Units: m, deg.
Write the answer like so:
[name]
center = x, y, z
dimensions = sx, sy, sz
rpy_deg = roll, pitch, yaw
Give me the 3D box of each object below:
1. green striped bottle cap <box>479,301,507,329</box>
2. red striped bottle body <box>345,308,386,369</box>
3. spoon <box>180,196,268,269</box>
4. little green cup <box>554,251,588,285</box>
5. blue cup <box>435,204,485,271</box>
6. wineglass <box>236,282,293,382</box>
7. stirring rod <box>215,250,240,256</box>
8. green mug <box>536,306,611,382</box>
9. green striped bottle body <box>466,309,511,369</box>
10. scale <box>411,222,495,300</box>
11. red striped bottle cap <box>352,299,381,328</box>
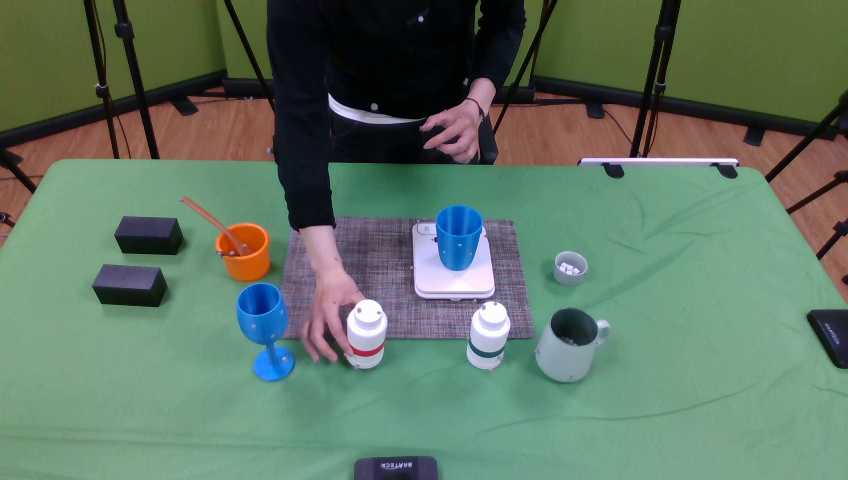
[green striped bottle cap]
center = 0.109, 0.118, 0.950
dimensions = 0.044, 0.020, 0.044
rpy_deg = 2, 47, -2
[red striped bottle body]
center = -0.093, 0.148, 0.962
dimensions = 0.063, 0.120, 0.062
rpy_deg = 5, 47, -5
[spoon]
center = -0.360, -0.014, 1.095
dimensions = 0.021, 0.194, 0.041
rpy_deg = -28, 26, 31
[little green cup]
center = 0.276, 0.055, 1.151
dimensions = 0.061, 0.039, 0.061
rpy_deg = 1, 46, -1
[blue cup]
center = 0.061, 0.001, 1.097
dimensions = 0.092, 0.101, 0.092
rpy_deg = 1, 44, 0
[wineglass]
center = -0.243, 0.143, 0.934
dimensions = 0.074, 0.173, 0.073
rpy_deg = 2, 46, -2
[stirring rod]
center = -0.339, 0.024, 1.059
dimensions = 0.014, 0.176, 0.006
rpy_deg = 17, 86, -6
[green mug]
center = 0.250, 0.167, 0.996
dimensions = 0.125, 0.105, 0.092
rpy_deg = -15, 49, -19
[green striped bottle body]
center = 0.106, 0.154, 0.988
dimensions = 0.063, 0.120, 0.063
rpy_deg = 2, 46, -2
[scale]
center = 0.052, 0.031, 1.158
dimensions = 0.149, 0.032, 0.199
rpy_deg = 1, 46, -4
[red striped bottle cap]
center = -0.087, 0.112, 0.924
dimensions = 0.044, 0.018, 0.044
rpy_deg = 6, 49, -6
